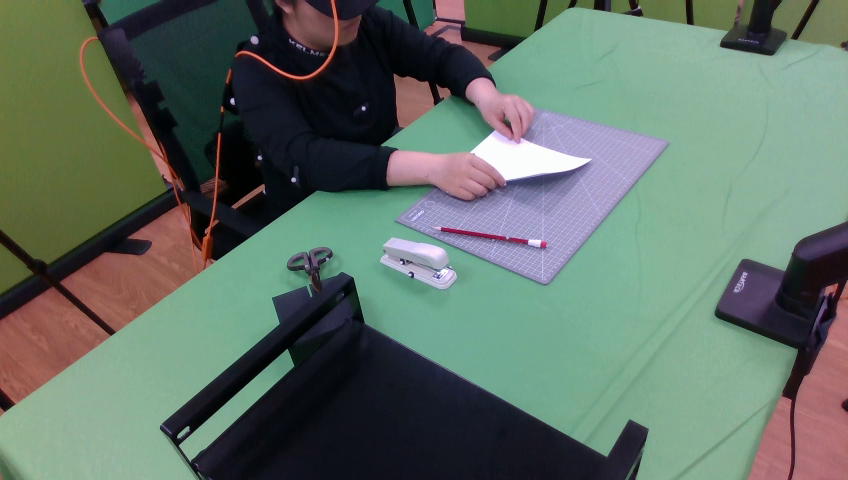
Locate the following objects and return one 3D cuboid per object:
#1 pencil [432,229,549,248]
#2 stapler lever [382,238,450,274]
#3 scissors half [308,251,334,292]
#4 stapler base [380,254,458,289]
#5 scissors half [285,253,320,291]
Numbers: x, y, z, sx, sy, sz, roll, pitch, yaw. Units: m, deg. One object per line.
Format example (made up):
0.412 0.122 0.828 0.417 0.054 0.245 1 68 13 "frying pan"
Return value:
0.103 -0.004 0.970 0.193 0.012 0.012 8 42 18 "pencil"
-0.014 0.018 0.919 0.117 0.040 0.027 21 45 31 "stapler lever"
-0.159 0.046 0.913 0.040 0.013 0.174 -4 17 -5 "scissors half"
-0.009 0.037 0.934 0.129 0.024 0.041 20 44 32 "stapler base"
-0.178 0.049 0.909 0.040 0.013 0.174 -15 19 -20 "scissors half"
